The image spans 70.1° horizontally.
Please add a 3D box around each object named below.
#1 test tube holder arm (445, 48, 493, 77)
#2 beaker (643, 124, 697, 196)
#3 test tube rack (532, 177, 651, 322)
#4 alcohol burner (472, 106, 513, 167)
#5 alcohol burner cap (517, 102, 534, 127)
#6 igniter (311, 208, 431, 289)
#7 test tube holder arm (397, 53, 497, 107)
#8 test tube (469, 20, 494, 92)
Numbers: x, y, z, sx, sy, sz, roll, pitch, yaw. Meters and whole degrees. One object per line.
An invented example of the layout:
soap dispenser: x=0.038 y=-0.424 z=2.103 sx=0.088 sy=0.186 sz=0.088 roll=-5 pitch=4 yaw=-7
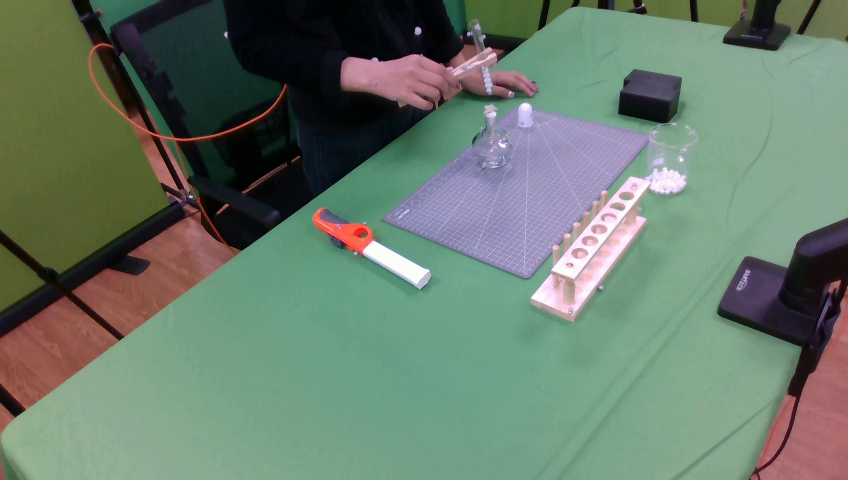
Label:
test tube holder arm: x=0.075 y=-0.290 z=1.000 sx=0.088 sy=0.015 sz=0.010 roll=-33 pitch=54 yaw=-5
beaker: x=0.407 y=-0.132 z=1.001 sx=0.084 sy=0.101 sz=0.073 roll=-20 pitch=42 yaw=-13
test tube rack: x=0.247 y=0.002 z=0.883 sx=0.066 sy=0.085 sz=0.243 roll=22 pitch=49 yaw=32
alcohol burner: x=0.125 y=-0.195 z=1.111 sx=0.078 sy=0.119 sz=0.077 roll=-5 pitch=42 yaw=5
alcohol burner cap: x=0.205 y=-0.255 z=1.223 sx=0.034 sy=0.048 sz=0.033 roll=-6 pitch=40 yaw=6
igniter: x=-0.096 y=0.008 z=0.986 sx=0.274 sy=0.025 sz=0.057 roll=28 pitch=62 yaw=36
test tube holder arm: x=0.038 y=-0.264 z=0.996 sx=0.178 sy=0.015 sz=0.013 roll=-26 pitch=54 yaw=0
test tube: x=0.096 y=-0.299 z=0.996 sx=0.017 sy=0.151 sz=0.017 roll=-7 pitch=59 yaw=13
